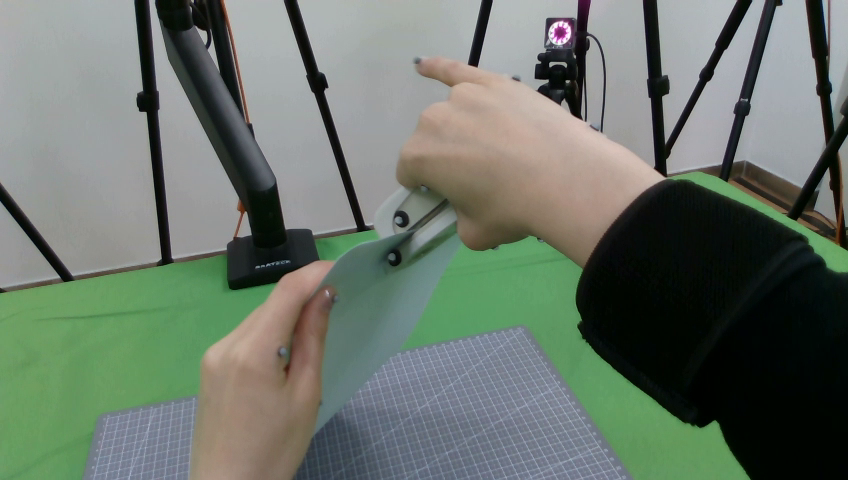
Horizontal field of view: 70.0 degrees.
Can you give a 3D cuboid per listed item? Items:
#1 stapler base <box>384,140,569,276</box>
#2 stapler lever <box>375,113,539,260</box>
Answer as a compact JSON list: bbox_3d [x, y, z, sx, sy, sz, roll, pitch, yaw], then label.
[{"bbox_3d":[0.022,-0.021,0.353,0.130,0.024,0.041,-35,-5,32],"label":"stapler base"},{"bbox_3d":[0.014,-0.034,0.355,0.040,0.118,0.027,48,31,9],"label":"stapler lever"}]
